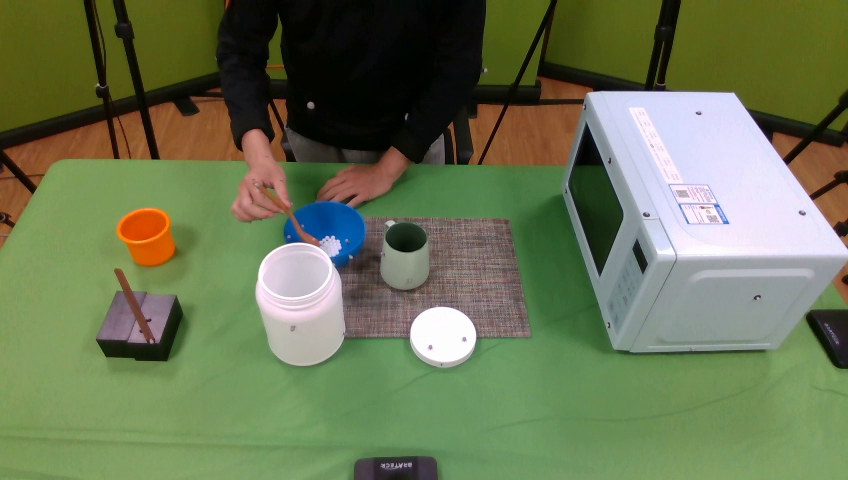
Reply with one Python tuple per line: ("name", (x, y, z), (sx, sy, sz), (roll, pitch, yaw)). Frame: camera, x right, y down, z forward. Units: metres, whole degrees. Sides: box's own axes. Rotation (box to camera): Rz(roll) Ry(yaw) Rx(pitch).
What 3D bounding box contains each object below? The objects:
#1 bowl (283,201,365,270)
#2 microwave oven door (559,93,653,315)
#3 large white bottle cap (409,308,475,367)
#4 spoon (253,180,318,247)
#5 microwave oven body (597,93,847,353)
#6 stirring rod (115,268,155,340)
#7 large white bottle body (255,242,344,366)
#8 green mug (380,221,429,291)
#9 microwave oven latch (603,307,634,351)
("bowl", (-0.185, 0.006, 1.136), (0.151, 0.077, 0.150), (3, 46, -3))
("microwave oven door", (0.327, -0.074, 1.123), (0.039, 0.245, 0.353), (-1, 46, -5))
("large white bottle cap", (0.031, 0.165, 1.041), (0.115, 0.018, 0.114), (2, 47, -2))
("spoon", (-0.236, -0.043, 1.046), (0.021, 0.195, 0.041), (-34, 48, -4))
("microwave oven body", (0.475, -0.041, 1.109), (0.326, 0.261, 0.438), (-1, 45, -4))
("stirring rod", (-0.478, 0.103, 0.999), (0.014, 0.006, 0.175), (7, 32, -49))
("large white bottle body", (-0.196, 0.102, 0.967), (0.131, 0.185, 0.130), (2, 49, -2))
("green mug", (-0.043, 0.020, 1.116), (0.092, 0.105, 0.124), (-20, 50, -21))
("microwave oven latch", (0.332, 0.153, 1.044), (0.030, 0.029, 0.078), (0, 45, -4))
